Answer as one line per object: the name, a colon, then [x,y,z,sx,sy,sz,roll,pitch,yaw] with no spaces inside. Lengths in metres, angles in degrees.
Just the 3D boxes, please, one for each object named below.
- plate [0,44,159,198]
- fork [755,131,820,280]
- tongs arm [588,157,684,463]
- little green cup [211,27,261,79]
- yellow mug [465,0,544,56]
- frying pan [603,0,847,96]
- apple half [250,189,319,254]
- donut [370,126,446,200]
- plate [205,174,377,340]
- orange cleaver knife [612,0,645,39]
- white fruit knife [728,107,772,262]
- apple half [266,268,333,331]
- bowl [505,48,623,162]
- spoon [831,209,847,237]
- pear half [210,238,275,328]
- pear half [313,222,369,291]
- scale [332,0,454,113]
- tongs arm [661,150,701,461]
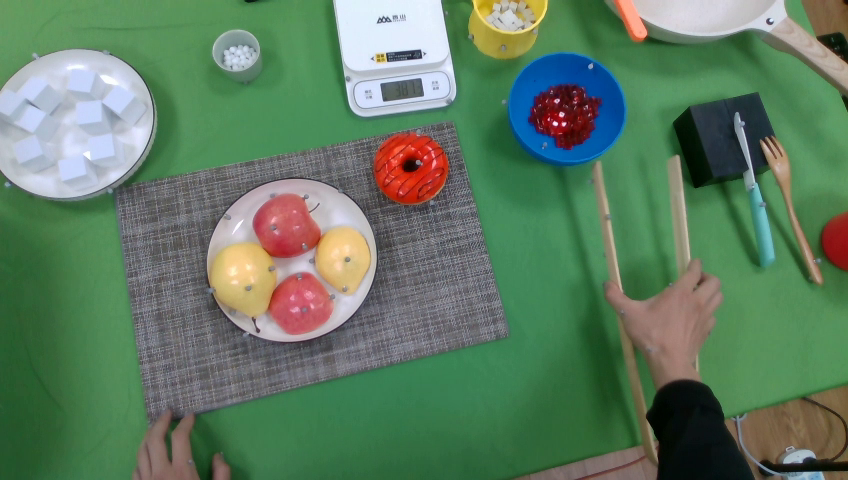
plate: [-0.445,-0.150,0.781,0.208,0.039,0.206,1,78,-3]
fork: [0.479,-0.044,0.793,0.028,0.018,0.207,-22,95,-9]
tongs arm: [0.262,0.084,0.753,0.051,0.026,0.384,-8,85,-13]
little green cup: [-0.249,-0.248,0.813,0.061,0.039,0.061,1,77,-2]
yellow mug: [0.098,-0.325,0.833,0.130,0.064,0.100,43,79,7]
frying pan: [0.430,-0.336,0.833,0.306,0.103,0.485,-39,74,-9]
apple half: [-0.175,-0.024,0.746,0.075,0.053,0.080,-25,83,-5]
donut: [-0.021,-0.100,0.785,0.099,0.048,0.098,0,79,0]
plate: [-0.162,0.021,0.755,0.209,0.038,0.208,1,77,-3]
orange cleaver knife: [0.256,-0.366,0.810,0.077,0.012,0.210,-22,80,-11]
white fruit knife: [0.422,-0.071,0.788,0.016,0.027,0.207,-15,93,-6]
apple half: [-0.155,0.071,0.735,0.081,0.033,0.081,0,70,-1]
bowl: [0.175,-0.165,0.796,0.151,0.077,0.150,1,78,-3]
spoon: [0.584,0.017,0.744,0.041,0.022,0.191,-18,35,-7]
pear half: [-0.212,0.051,0.723,0.076,0.056,0.109,-19,83,-15]
pear half: [-0.106,0.019,0.751,0.070,0.031,0.087,-14,76,8]
scale: [-0.044,-0.278,0.833,0.149,0.031,0.200,-9,79,-4]
tongs arm: [0.320,0.077,0.765,0.028,0.027,0.386,0,84,-15]
